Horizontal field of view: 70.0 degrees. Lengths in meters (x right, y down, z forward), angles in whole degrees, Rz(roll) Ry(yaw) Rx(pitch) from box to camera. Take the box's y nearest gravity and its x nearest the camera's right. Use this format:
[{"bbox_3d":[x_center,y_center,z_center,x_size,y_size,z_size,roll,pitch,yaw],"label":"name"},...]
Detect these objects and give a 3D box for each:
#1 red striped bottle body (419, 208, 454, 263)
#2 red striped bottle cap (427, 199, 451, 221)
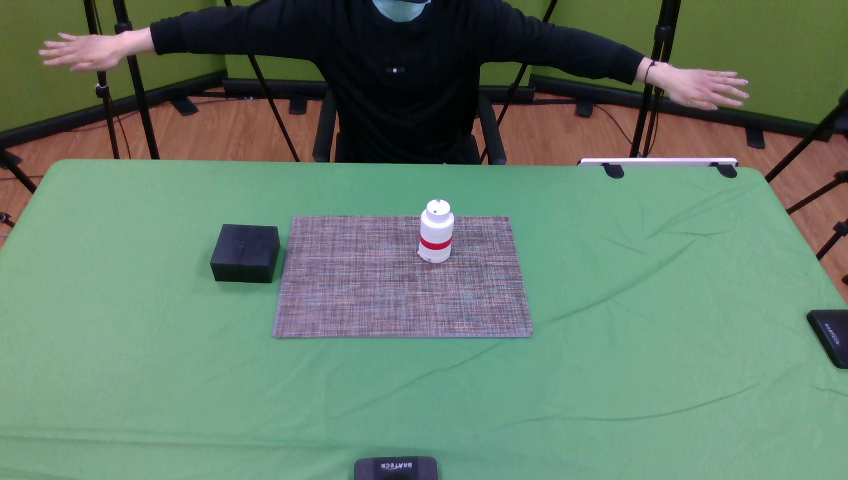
[{"bbox_3d":[0.024,-0.018,1.141,0.063,0.120,0.062,2,45,-2],"label":"red striped bottle body"},{"bbox_3d":[0.027,-0.056,1.103,0.044,0.018,0.044,0,46,0],"label":"red striped bottle cap"}]
